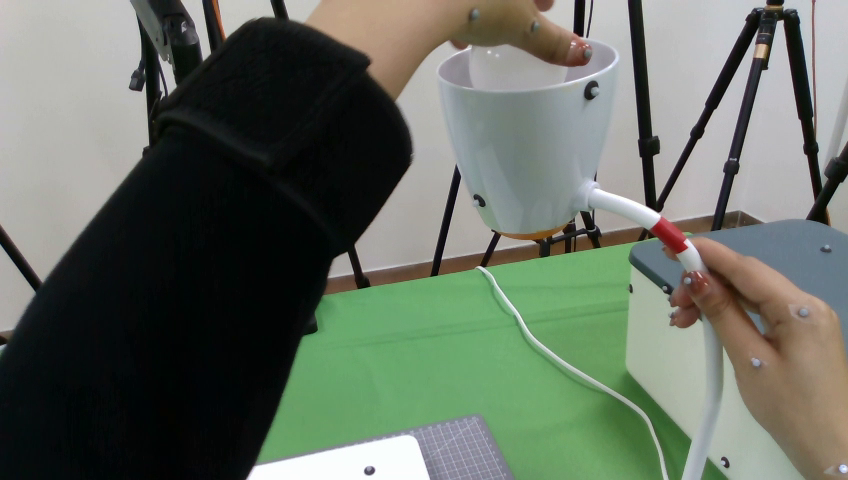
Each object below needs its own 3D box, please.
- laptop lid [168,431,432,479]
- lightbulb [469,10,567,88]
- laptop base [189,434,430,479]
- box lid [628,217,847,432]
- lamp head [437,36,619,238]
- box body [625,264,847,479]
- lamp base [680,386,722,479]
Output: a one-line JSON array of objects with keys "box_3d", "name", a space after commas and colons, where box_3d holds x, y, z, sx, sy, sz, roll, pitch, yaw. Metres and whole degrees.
[{"box_3d": [-0.151, 0.268, 0.480, 0.357, 0.013, 0.239, -7, 28, -11], "name": "laptop lid"}, {"box_3d": [0.061, -0.090, 0.385, 0.059, 0.108, 0.059, -7, 34, 5], "name": "lightbulb"}, {"box_3d": [-0.151, 0.278, 0.487, 0.355, 0.023, 0.233, -8, 30, -12], "name": "laptop base"}, {"box_3d": [0.390, 0.066, 0.550, 0.264, 0.015, 0.367, -8, 27, -14], "name": "box lid"}, {"box_3d": [0.073, -0.063, 0.399, 0.112, 0.124, 0.111, -10, 28, 6], "name": "lamp head"}, {"box_3d": [0.393, 0.134, 0.582, 0.255, 0.161, 0.360, -9, 27, -14], "name": "box body"}, {"box_3d": [0.179, 0.204, 0.429, 0.160, 0.181, 0.179, 10, 26, 21], "name": "lamp base"}]
